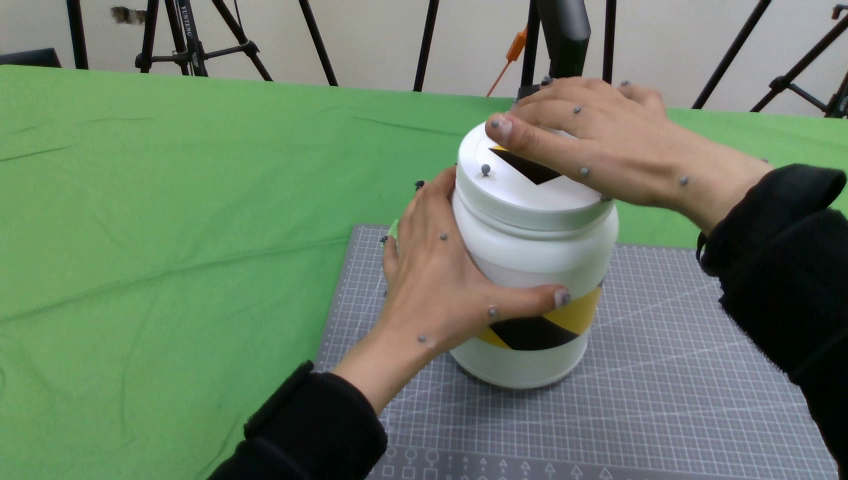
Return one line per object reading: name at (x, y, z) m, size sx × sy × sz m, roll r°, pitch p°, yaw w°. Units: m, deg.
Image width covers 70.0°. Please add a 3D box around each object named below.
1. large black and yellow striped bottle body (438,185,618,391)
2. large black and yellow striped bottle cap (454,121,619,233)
large black and yellow striped bottle body at (0.079, 0.017, 0.486) m, size 0.131 × 0.185 × 0.129 m, roll 1°, pitch 41°, yaw -1°
large black and yellow striped bottle cap at (0.079, -0.048, 0.428) m, size 0.115 × 0.019 × 0.114 m, roll 3°, pitch 42°, yaw -2°
